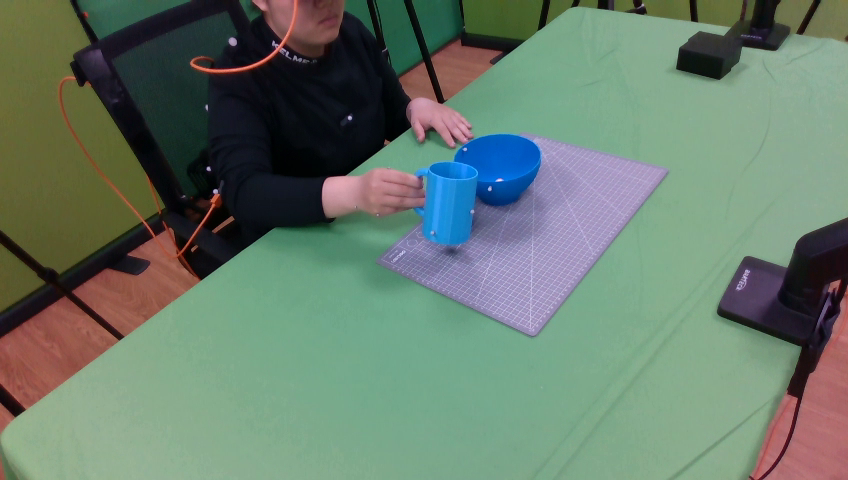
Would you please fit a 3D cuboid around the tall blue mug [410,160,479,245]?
[{"bbox_3d":[0.024,-0.060,0.917,0.107,0.108,0.077,10,28,8],"label":"tall blue mug"}]

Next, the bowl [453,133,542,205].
[{"bbox_3d":[0.129,-0.112,1.045,0.151,0.077,0.150,-5,40,5],"label":"bowl"}]
